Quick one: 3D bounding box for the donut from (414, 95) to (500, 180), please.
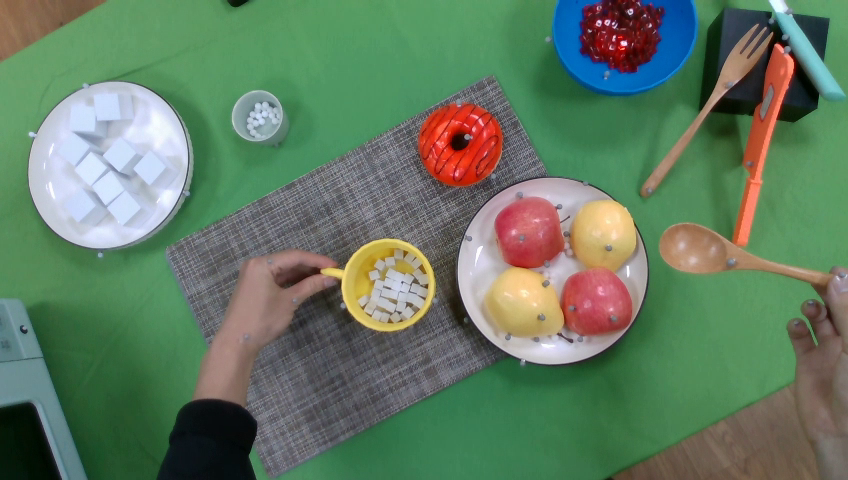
[{"bbox_3d":[0.038,-0.117,0.693,0.099,0.048,0.099,0,87,8],"label":"donut"}]

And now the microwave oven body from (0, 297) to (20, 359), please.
[{"bbox_3d":[-0.560,0.313,0.608,0.326,0.261,0.440,-25,84,3],"label":"microwave oven body"}]

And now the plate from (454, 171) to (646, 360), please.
[{"bbox_3d":[0.138,0.028,0.675,0.209,0.038,0.208,-1,85,6],"label":"plate"}]

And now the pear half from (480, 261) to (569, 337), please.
[{"bbox_3d":[0.117,0.072,0.659,0.110,0.056,0.076,35,94,0],"label":"pear half"}]

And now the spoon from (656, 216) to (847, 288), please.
[{"bbox_3d":[0.283,0.020,0.479,0.192,0.022,0.041,16,86,20],"label":"spoon"}]

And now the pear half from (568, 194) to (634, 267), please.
[{"bbox_3d":[0.188,-0.006,0.658,0.070,0.031,0.088,3,96,29],"label":"pear half"}]

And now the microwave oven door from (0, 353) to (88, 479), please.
[{"bbox_3d":[-0.411,0.289,0.590,0.039,0.244,0.354,-25,83,3],"label":"microwave oven door"}]

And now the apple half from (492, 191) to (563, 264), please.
[{"bbox_3d":[0.113,-0.014,0.663,0.074,0.053,0.080,-10,87,5],"label":"apple half"}]

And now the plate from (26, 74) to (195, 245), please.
[{"bbox_3d":[-0.376,-0.096,0.740,0.207,0.039,0.207,0,85,6],"label":"plate"}]

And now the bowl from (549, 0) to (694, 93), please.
[{"bbox_3d":[0.211,-0.228,0.673,0.151,0.077,0.151,0,86,5],"label":"bowl"}]

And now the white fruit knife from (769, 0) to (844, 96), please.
[{"bbox_3d":[0.379,-0.240,0.639,0.027,0.016,0.206,-22,80,-26],"label":"white fruit knife"}]

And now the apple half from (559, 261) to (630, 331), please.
[{"bbox_3d":[0.177,0.062,0.650,0.081,0.033,0.081,2,94,29],"label":"apple half"}]

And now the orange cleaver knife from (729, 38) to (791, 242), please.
[{"bbox_3d":[0.353,-0.104,0.646,0.012,0.077,0.212,8,112,11],"label":"orange cleaver knife"}]

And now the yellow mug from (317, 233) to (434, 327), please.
[{"bbox_3d":[-0.055,0.042,0.674,0.131,0.064,0.100,11,86,4],"label":"yellow mug"}]

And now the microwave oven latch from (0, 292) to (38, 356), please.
[{"bbox_3d":[-0.489,0.100,0.715,0.030,0.029,0.079,-24,84,3],"label":"microwave oven latch"}]

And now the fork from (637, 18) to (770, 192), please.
[{"bbox_3d":[0.294,-0.139,0.652,0.028,0.018,0.208,31,109,0],"label":"fork"}]

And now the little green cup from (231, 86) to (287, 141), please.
[{"bbox_3d":[-0.195,-0.148,0.726,0.061,0.039,0.061,-1,85,6],"label":"little green cup"}]
